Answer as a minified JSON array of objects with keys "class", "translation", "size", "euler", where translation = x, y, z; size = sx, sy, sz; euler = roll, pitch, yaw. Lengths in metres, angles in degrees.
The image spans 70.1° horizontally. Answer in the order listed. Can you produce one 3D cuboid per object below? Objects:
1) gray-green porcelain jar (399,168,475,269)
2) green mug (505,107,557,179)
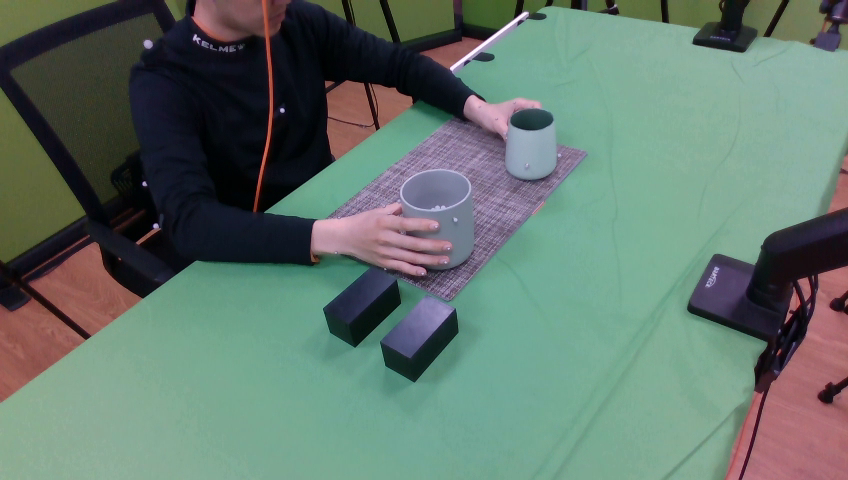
[{"class":"gray-green porcelain jar","translation":[0.022,-0.028,0.911],"size":[0.106,0.127,0.105],"euler":[-4,41,4]},{"class":"green mug","translation":[0.189,-0.180,1.082],"size":[0.092,0.105,0.124],"euler":[-6,41,2]}]
